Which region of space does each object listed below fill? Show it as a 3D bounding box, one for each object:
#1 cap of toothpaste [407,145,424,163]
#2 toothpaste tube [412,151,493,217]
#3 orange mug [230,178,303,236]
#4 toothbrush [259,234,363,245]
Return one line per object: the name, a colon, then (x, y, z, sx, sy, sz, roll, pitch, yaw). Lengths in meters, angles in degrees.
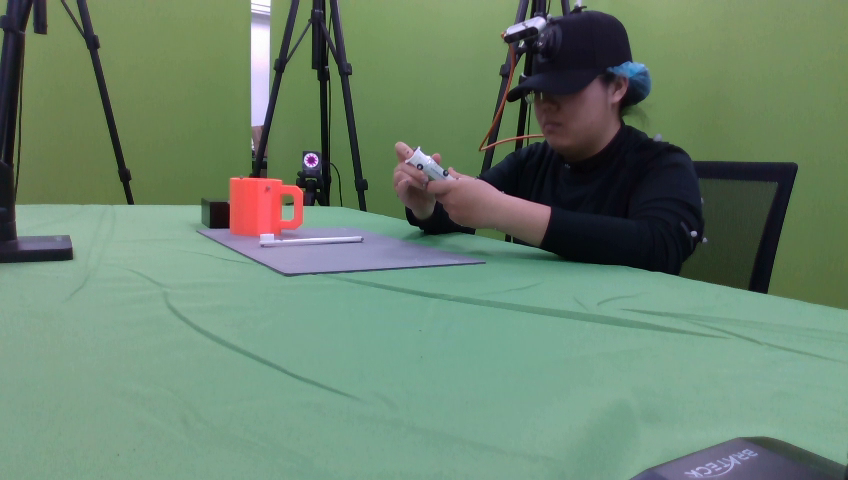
cap of toothpaste: (-0.013, -0.134, 0.954, 0.011, 0.037, 0.037, 40, -2, -13)
toothpaste tube: (0.045, -0.089, 0.978, 0.166, 0.034, 0.055, 37, 2, -21)
orange mug: (-0.275, -0.060, 1.058, 0.126, 0.101, 0.083, -2, 8, -5)
toothbrush: (-0.175, -0.002, 0.958, 0.183, 0.016, 0.014, -1, -4, -39)
